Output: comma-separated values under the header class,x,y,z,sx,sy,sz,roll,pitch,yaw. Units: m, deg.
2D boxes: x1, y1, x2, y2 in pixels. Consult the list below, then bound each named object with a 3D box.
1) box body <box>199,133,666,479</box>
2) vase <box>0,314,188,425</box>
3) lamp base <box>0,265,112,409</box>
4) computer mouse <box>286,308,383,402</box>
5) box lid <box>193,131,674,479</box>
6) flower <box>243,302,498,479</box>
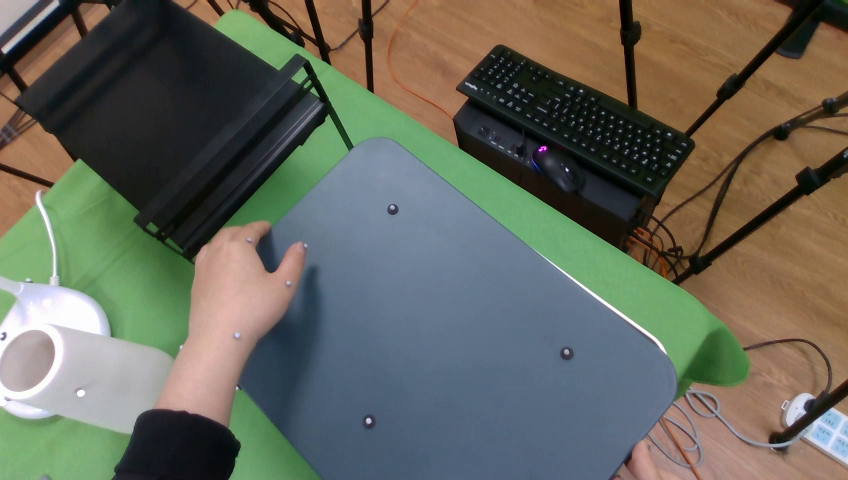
class,x,y,z,sx,sy,sz,roll,pitch,yaw
box body,0.005,0.105,0.602,0.361,0.161,0.254,38,80,21
vase,-0.336,0.135,0.629,0.098,0.201,0.097,-4,68,10
lamp base,-0.477,0.087,0.682,0.160,0.182,0.177,-18,64,2
computer mouse,-0.103,0.125,0.673,0.116,0.041,0.062,31,80,28
box lid,-0.008,0.084,0.525,0.369,0.015,0.263,40,81,20
flower,-0.037,0.174,0.629,0.360,0.038,0.044,32,34,10
